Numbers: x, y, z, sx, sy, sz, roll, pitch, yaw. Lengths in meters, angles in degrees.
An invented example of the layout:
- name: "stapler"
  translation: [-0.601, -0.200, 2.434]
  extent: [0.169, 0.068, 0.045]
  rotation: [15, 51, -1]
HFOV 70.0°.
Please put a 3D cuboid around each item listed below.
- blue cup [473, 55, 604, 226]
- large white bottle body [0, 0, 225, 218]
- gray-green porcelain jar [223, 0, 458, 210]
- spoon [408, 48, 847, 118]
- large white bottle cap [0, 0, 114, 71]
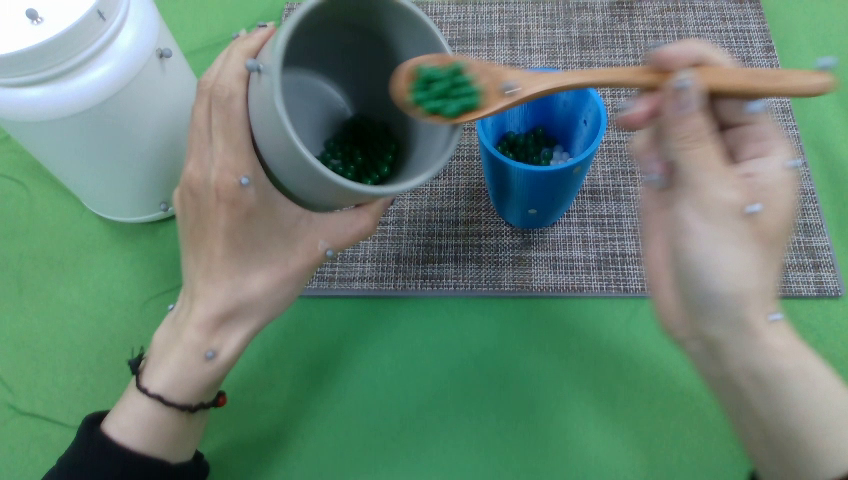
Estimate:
- name: "blue cup"
  translation: [0.078, -0.059, 0.437]
  extent: [0.092, 0.101, 0.092]
  rotation: [-2, 62, 4]
- name: "large white bottle body"
  translation: [-0.238, -0.112, 0.439]
  extent: [0.130, 0.186, 0.129]
  rotation: [-1, 63, 3]
- name: "gray-green porcelain jar"
  translation: [-0.056, -0.074, 0.354]
  extent: [0.106, 0.126, 0.105]
  rotation: [2, 86, -29]
- name: "spoon"
  translation: [0.085, -0.074, 0.281]
  extent: [0.193, 0.022, 0.041]
  rotation: [4, 64, 20]
- name: "large white bottle cap"
  translation: [-0.243, -0.150, 0.362]
  extent: [0.115, 0.018, 0.114]
  rotation: [-1, 64, 3]
